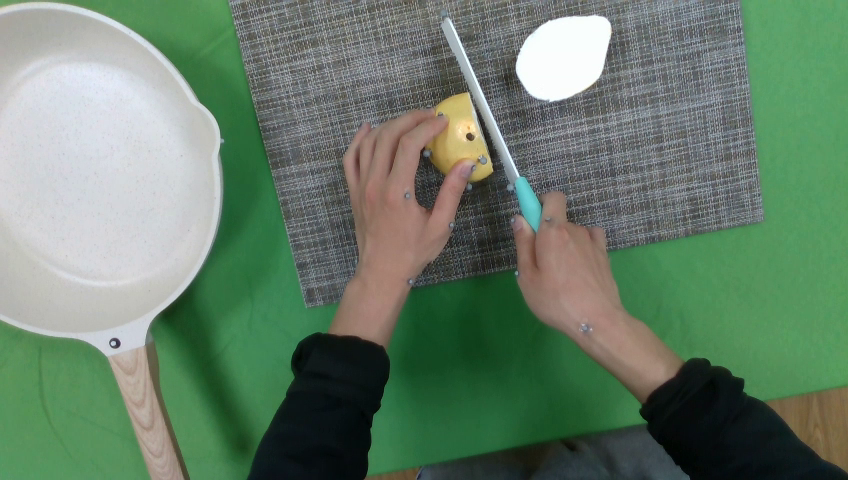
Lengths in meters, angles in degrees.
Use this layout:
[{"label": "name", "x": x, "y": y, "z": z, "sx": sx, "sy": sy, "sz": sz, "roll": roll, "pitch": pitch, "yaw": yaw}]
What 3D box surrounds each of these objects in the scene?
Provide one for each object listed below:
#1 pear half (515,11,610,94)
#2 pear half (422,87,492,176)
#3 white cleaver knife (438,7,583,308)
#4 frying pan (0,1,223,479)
[{"label": "pear half", "x": 0.124, "y": -0.164, "z": 0.536, "sx": 0.088, "sy": 0.031, "sz": 0.070, "roll": -36, "pitch": 83, "yaw": 3}, {"label": "pear half", "x": 0.026, "y": -0.088, "z": 0.517, "sx": 0.056, "sy": 0.109, "sz": 0.076, "roll": -25, "pitch": 95, "yaw": 8}, {"label": "white cleaver knife", "x": 0.077, "y": -0.070, "z": 0.540, "sx": 0.021, "sy": 0.065, "sz": 0.287, "roll": -24, "pitch": 96, "yaw": 2}, {"label": "frying pan", "x": -0.292, "y": 0.039, "z": 0.561, "sx": 0.307, "sy": 0.103, "sz": 0.488, "roll": -16, "pitch": 92, "yaw": 6}]
